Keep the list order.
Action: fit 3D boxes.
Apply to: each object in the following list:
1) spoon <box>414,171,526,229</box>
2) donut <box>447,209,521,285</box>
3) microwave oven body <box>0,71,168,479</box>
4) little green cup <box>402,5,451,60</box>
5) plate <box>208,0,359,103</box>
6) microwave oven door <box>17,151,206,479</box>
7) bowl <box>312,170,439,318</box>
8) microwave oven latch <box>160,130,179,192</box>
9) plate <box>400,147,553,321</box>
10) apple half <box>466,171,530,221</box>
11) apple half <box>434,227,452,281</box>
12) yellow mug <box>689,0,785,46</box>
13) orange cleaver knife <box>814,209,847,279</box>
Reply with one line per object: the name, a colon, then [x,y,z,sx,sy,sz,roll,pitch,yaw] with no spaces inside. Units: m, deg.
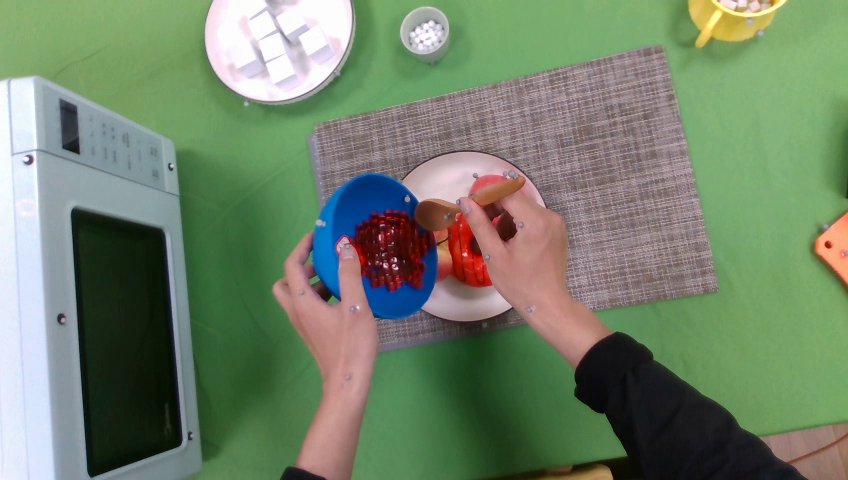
spoon: [0.040,-0.035,0.572,0.042,0.193,0.021,43,70,-14]
donut: [0.065,0.004,0.719,0.099,0.048,0.099,0,89,12]
microwave oven body: [-0.483,0.083,0.707,0.325,0.261,0.440,-9,83,9]
little green cup: [0.005,-0.261,0.771,0.061,0.039,0.061,-1,84,11]
plate: [-0.184,-0.280,0.807,0.207,0.039,0.207,-1,84,10]
microwave oven door: [-0.336,0.102,0.673,0.039,0.245,0.354,-9,82,9]
bowl: [-0.063,0.011,0.627,0.076,0.152,0.151,-15,80,40]
microwave oven latch: [-0.344,-0.102,0.799,0.030,0.029,0.079,-8,83,9]
plate: [0.051,-0.007,0.733,0.209,0.038,0.208,-1,84,10]
apple half: [0.089,-0.057,0.704,0.081,0.033,0.080,2,45,-2]
apple half: [-0.010,0.010,0.711,0.074,0.054,0.080,-15,77,50]
yellow mug: [0.355,-0.280,0.695,0.099,0.064,0.131,37,92,12]
orange cleaver knife: [0.505,0.062,0.656,0.077,0.012,0.210,-26,79,1]
